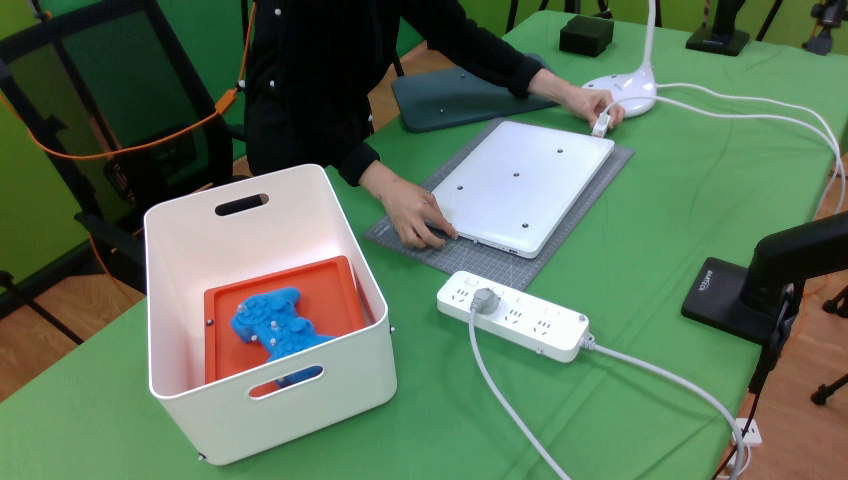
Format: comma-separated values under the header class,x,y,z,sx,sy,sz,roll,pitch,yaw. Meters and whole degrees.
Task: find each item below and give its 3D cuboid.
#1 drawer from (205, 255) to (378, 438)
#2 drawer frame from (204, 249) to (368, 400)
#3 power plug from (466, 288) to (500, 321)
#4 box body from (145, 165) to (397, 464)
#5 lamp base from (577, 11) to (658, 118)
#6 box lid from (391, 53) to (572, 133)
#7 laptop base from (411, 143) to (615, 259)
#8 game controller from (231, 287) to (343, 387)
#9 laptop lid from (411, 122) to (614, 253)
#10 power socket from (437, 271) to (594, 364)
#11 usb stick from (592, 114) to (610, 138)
class,x,y,z,sx,sy,sz,roll,pitch,yaw
drawer,-0.177,0.130,0.787,0.195,0.073,0.210,-14,39,-9
drawer frame,-0.174,0.129,0.790,0.202,0.083,0.212,-16,45,-8
power plug,0.072,0.093,0.813,0.035,0.053,0.073,31,54,35
box body,-0.205,0.080,0.802,0.255,0.161,0.361,-18,41,-13
lamp base,0.406,-0.363,1.222,0.180,0.181,0.159,-20,42,-18
box lid,0.122,-0.339,1.366,0.372,0.015,0.261,-12,40,-5
laptop base,0.167,-0.102,1.074,0.234,0.023,0.355,16,45,30
game controller,-0.167,0.110,0.734,0.097,0.052,0.154,-35,47,-22
laptop lid,0.164,-0.112,1.068,0.240,0.013,0.357,19,46,30
power socket,0.118,0.102,0.830,0.225,0.033,0.072,20,48,28
usb stick,0.336,-0.211,1.153,0.021,0.027,0.059,21,61,15
